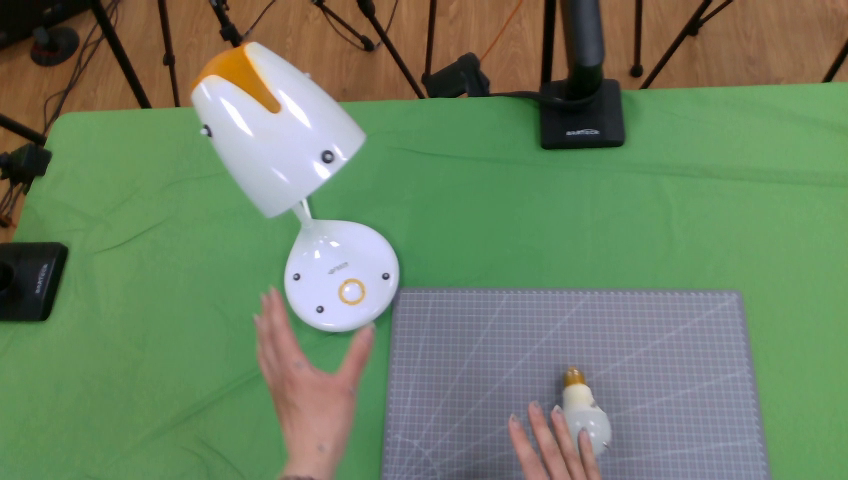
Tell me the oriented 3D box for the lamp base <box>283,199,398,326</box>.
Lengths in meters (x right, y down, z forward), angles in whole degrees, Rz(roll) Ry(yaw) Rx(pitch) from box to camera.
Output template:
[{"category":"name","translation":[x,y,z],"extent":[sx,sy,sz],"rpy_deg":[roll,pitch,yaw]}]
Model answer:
[{"category":"lamp base","translation":[-0.132,0.003,0.770],"extent":[0.160,0.182,0.177],"rpy_deg":[-38,65,-10]}]

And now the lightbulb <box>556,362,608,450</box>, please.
[{"category":"lightbulb","translation":[0.183,0.194,0.719],"extent":[0.059,0.060,0.106],"rpy_deg":[-6,51,5]}]

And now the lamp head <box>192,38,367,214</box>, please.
[{"category":"lamp head","translation":[-0.126,-0.100,0.494],"extent":[0.112,0.112,0.123],"rpy_deg":[-44,106,-12]}]
